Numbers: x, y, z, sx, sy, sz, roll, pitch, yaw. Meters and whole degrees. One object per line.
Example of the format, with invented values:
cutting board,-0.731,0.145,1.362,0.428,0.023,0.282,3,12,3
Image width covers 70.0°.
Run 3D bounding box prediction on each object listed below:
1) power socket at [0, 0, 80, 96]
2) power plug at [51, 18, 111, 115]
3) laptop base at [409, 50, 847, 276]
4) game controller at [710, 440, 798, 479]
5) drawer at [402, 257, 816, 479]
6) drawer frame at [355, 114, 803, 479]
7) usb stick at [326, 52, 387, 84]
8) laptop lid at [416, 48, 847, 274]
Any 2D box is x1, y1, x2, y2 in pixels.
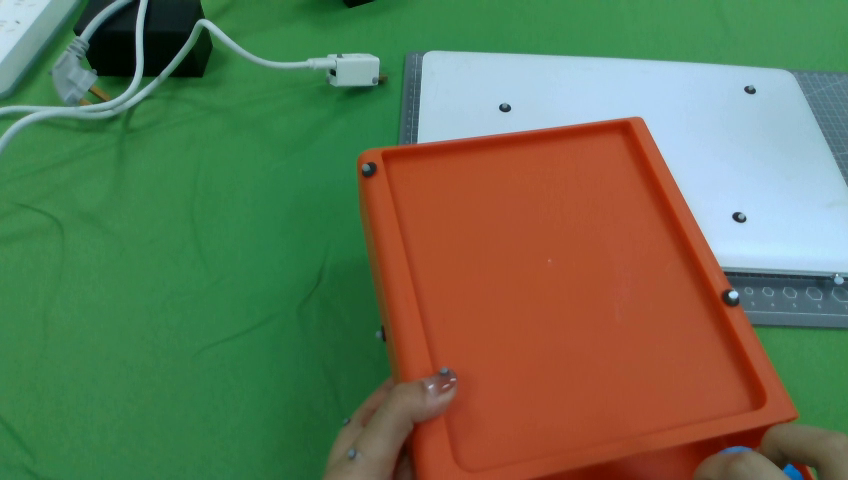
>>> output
power socket,-0.398,-0.219,0.590,0.072,0.033,0.224,6,53,0
power plug,-0.286,-0.147,0.523,0.072,0.053,0.035,-50,35,-1
laptop base,0.169,-0.072,0.518,0.354,0.023,0.233,3,56,-1
game controller,0.110,0.150,0.268,0.155,0.051,0.097,-9,93,-9
drawer,0.096,0.115,0.325,0.195,0.074,0.209,-8,60,-11
drawer frame,0.073,0.037,0.370,0.202,0.083,0.211,-10,60,-10
usb stick,-0.060,-0.160,0.561,0.059,0.027,0.021,-11,30,-37
laptop lid,0.169,-0.078,0.507,0.357,0.013,0.239,4,55,0
